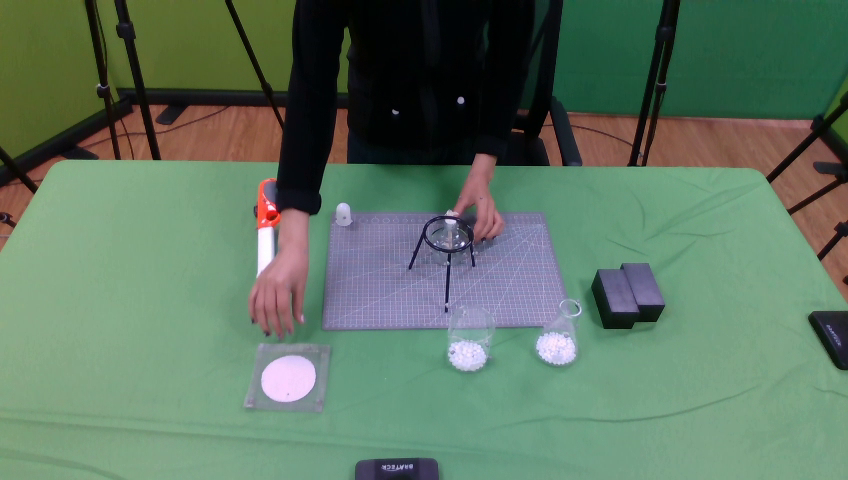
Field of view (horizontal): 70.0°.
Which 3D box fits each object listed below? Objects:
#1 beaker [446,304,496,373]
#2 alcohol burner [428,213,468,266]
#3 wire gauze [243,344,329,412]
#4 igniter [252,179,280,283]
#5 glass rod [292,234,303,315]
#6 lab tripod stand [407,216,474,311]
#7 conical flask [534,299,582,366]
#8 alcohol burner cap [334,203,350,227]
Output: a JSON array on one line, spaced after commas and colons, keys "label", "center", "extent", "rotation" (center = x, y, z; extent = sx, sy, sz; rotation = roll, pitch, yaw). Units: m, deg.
[{"label": "beaker", "center": [0.072, 0.166, 0.992], "extent": [0.084, 0.101, 0.073], "rotation": [-21, 51, -22]}, {"label": "alcohol burner", "center": [0.047, -0.007, 1.143], "extent": [0.078, 0.120, 0.077], "rotation": [1, 48, -1]}, {"label": "wire gauze", "center": [-0.221, 0.219, 0.980], "extent": [0.125, 0.011, 0.120], "rotation": [2, 45, 0]}, {"label": "igniter", "center": [-0.312, -0.027, 1.197], "extent": [0.057, 0.025, 0.274], "rotation": [-12, 47, -2]}, {"label": "glass rod", "center": [-0.236, 0.059, 1.133], "extent": [0.008, 0.008, 0.198], "rotation": [-1, 46, -4]}, {"label": "lab tripod stand", "center": [0.039, 0.030, 1.093], "extent": [0.148, 0.132, 0.147], "rotation": [3, 44, -2]}, {"label": "conical flask", "center": [0.229, 0.149, 1.005], "extent": [0.075, 0.122, 0.075], "rotation": [2, 46, -2]}, {"label": "alcohol burner cap", "center": [-0.166, -0.053, 1.220], "extent": [0.034, 0.048, 0.033], "rotation": [2, 46, -2]}]
